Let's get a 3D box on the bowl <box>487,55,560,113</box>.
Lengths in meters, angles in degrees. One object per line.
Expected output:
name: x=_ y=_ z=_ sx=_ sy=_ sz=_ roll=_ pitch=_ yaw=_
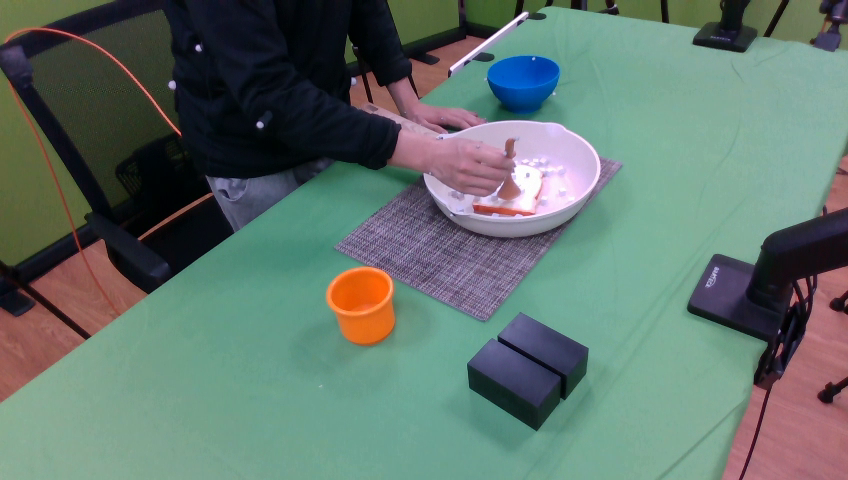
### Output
bowl: x=0.207 y=-0.319 z=1.266 sx=0.151 sy=0.077 sz=0.150 roll=-4 pitch=41 yaw=4

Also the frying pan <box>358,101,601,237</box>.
frying pan: x=0.067 y=-0.153 z=1.067 sx=0.484 sy=0.103 sz=0.308 roll=32 pitch=52 yaw=26

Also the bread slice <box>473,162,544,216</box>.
bread slice: x=0.150 y=-0.088 z=1.042 sx=0.106 sy=0.018 sz=0.134 roll=6 pitch=45 yaw=16

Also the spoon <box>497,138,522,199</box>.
spoon: x=0.129 y=-0.105 z=0.915 sx=0.041 sy=0.194 sz=0.021 roll=-5 pitch=66 yaw=6
